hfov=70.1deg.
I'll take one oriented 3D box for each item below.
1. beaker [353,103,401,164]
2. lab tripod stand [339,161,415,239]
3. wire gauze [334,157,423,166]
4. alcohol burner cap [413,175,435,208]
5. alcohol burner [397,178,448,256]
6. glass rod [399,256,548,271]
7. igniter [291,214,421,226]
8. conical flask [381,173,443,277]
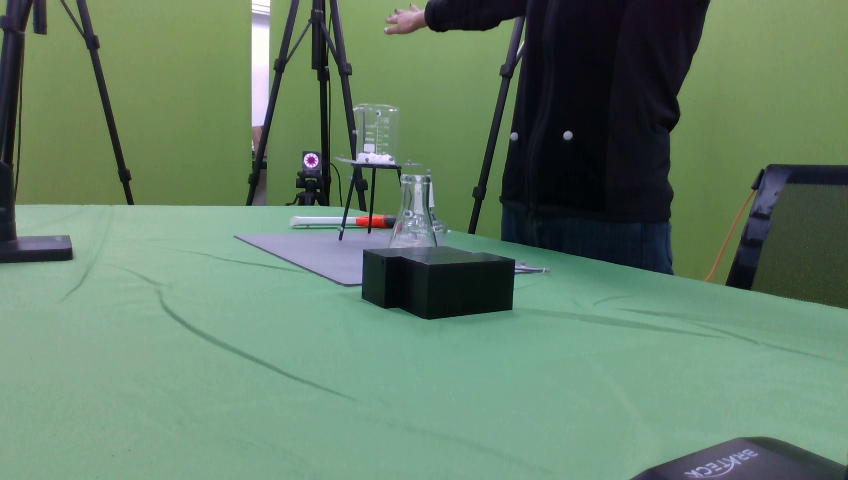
[{"bbox_3d":[-0.084,-0.183,1.046,0.084,0.100,0.074,4,6,3],"label":"beaker"},{"bbox_3d":[-0.082,-0.070,1.059,0.148,0.131,0.148,4,6,0],"label":"lab tripod stand"},{"bbox_3d":[-0.081,-0.135,1.051,0.122,0.011,0.124,2,5,-30],"label":"wire gauze"},{"bbox_3d":[-0.001,-0.072,0.898,0.034,0.048,0.034,-3,10,1],"label":"alcohol burner cap"},{"bbox_3d":[-0.001,-0.037,0.903,0.078,0.119,0.078,4,9,0],"label":"alcohol burner"},{"bbox_3d":[0.064,0.030,0.806,0.199,0.008,0.008,4,7,10],"label":"glass rod"},{"bbox_3d":[-0.135,-0.041,1.250,0.278,0.025,0.057,-1,-3,-28],"label":"igniter"},{"bbox_3d":[-0.012,-0.020,0.731,0.075,0.122,0.075,2,7,0],"label":"conical flask"}]
